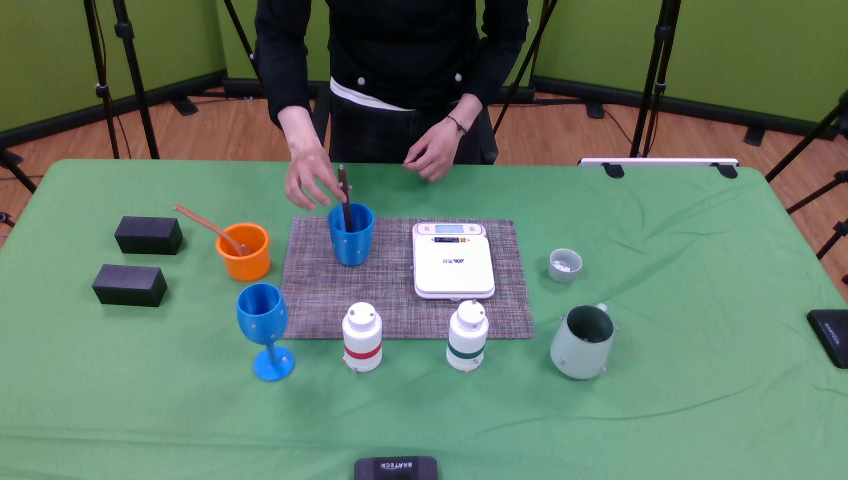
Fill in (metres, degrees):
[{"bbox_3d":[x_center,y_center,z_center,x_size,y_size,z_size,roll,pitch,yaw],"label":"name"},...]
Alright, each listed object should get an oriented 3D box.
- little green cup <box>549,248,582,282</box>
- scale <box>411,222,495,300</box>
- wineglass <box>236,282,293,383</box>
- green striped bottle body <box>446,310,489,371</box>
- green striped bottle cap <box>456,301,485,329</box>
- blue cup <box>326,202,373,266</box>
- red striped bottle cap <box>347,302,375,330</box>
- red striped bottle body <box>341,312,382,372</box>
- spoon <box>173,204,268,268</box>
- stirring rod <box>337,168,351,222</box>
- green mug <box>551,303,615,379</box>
[{"bbox_3d":[0.268,0.050,1.156,0.061,0.039,0.061,1,46,-1],"label":"little green cup"},{"bbox_3d":[0.052,0.031,1.158,0.149,0.032,0.199,1,46,-4],"label":"scale"},{"bbox_3d":[-0.243,0.143,0.934,0.074,0.173,0.073,2,46,-2],"label":"wineglass"},{"bbox_3d":[0.070,0.155,0.984,0.063,0.120,0.063,2,46,-2],"label":"green striped bottle body"},{"bbox_3d":[0.073,0.116,0.943,0.044,0.020,0.044,3,46,-3],"label":"green striped bottle cap"},{"bbox_3d":[-0.138,-0.006,1.131,0.093,0.101,0.092,3,45,-3],"label":"blue cup"},{"bbox_3d":[-0.098,0.116,0.934,0.044,0.018,0.044,3,48,-3],"label":"red striped bottle cap"},{"bbox_3d":[-0.100,0.154,0.972,0.063,0.120,0.062,2,46,-1],"label":"red striped bottle body"},{"bbox_3d":[-0.363,-0.008,1.089,0.021,0.195,0.041,-32,32,26],"label":"spoon"},{"bbox_3d":[-0.139,-0.060,1.072,0.014,0.177,0.006,3,47,2],"label":"stirring rod"},{"bbox_3d":[0.271,0.157,1.007,0.092,0.105,0.125,27,50,21],"label":"green mug"}]
